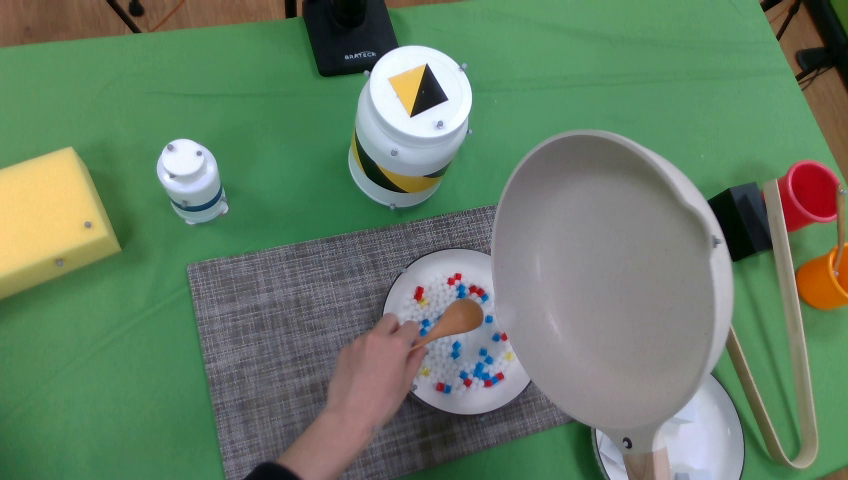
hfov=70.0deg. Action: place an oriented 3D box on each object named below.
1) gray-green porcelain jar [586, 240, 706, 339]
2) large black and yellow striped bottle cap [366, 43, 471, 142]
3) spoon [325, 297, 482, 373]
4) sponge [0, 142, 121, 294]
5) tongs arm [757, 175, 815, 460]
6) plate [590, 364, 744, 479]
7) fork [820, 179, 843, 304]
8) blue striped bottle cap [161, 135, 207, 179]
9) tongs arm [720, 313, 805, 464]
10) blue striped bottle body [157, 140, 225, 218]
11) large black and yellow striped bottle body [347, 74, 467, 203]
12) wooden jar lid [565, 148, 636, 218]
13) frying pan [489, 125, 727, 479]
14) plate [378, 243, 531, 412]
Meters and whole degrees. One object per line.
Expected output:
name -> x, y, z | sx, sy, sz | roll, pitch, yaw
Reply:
gray-green porcelain jar -> 0.275, 0.068, 0.775 | 0.106, 0.127, 0.105 | 4, 71, -11
large black and yellow striped bottle cap -> -0.005, -0.162, 0.661 | 0.115, 0.019, 0.114 | 4, 71, -11
spoon -> -0.018, 0.111, 0.679 | 0.194, 0.021, 0.041 | -20, 84, -17
sponge -> -0.464, -0.011, 0.665 | 0.207, 0.061, 0.117 | -26, 80, -20
tongs arm -> 0.496, 0.101, 0.835 | 0.028, 0.027, 0.386 | -2, 83, -21
plate -> 0.305, 0.241, 0.774 | 0.208, 0.039, 0.206 | 4, 72, -11
fork -> 0.576, 0.005, 0.851 | 0.028, 0.018, 0.209 | -25, 124, -11
blue striped bottle cap -> -0.257, -0.090, 0.650 | 0.045, 0.021, 0.044 | 4, 69, -9
tongs arm -> 0.417, 0.117, 0.809 | 0.051, 0.026, 0.384 | -17, 87, -20
blue striped bottle body -> -0.268, -0.074, 0.698 | 0.063, 0.121, 0.062 | 4, 71, -12
large black and yellow striped bottle body -> -0.023, -0.136, 0.741 | 0.131, 0.184, 0.130 | 4, 71, -11
wooden jar lid -> 0.253, -0.080, 0.874 | 0.109, 0.021, 0.108 | 4, 73, -12
frying pan -> 0.187, 0.131, 0.577 | 0.103, 0.307, 0.485 | 0, 73, -25
plate -> 0.044, 0.106, 0.752 | 0.210, 0.038, 0.208 | 4, 72, -11
